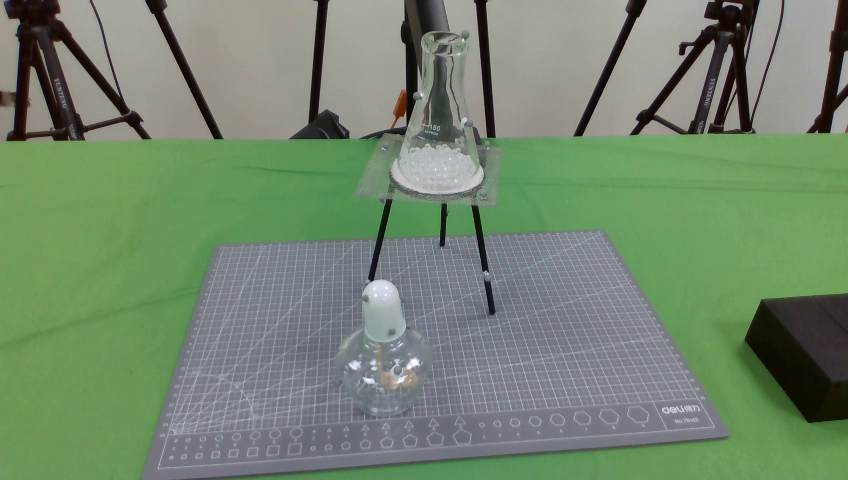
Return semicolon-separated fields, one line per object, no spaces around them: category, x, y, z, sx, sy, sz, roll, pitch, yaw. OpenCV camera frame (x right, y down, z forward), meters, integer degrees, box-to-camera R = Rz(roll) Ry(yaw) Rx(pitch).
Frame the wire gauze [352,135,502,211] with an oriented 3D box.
wire gauze;0.008;-0.062;0.554;0.121;0.011;0.124;6;37;6

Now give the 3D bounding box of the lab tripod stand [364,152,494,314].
lab tripod stand;0.013;-0.007;0.591;0.148;0.132;0.147;3;34;-2

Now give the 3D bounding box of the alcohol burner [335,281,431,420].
alcohol burner;-0.032;0.083;0.476;0.078;0.120;0.077;1;33;0

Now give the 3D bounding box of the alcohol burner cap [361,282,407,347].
alcohol burner cap;-0.031;0.054;0.454;0.034;0.048;0.033;-4;38;3

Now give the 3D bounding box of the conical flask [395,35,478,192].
conical flask;0.013;-0.109;0.516;0.075;0.123;0.074;2;35;-1
